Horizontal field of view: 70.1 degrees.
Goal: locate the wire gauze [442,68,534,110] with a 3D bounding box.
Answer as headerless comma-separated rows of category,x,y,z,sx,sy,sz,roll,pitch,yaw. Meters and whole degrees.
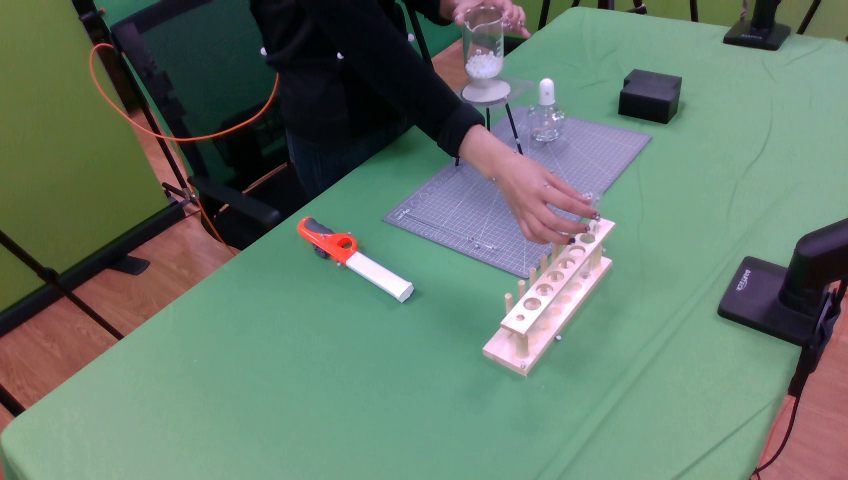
wire gauze,0.114,-0.269,1.081,0.120,0.011,0.125,21,48,29

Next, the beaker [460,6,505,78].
beaker,0.100,-0.335,1.035,0.073,0.101,0.084,16,47,24

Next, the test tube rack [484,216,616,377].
test tube rack,0.174,0.065,0.823,0.066,0.085,0.243,23,49,33

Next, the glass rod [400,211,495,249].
glass rod,0.035,-0.018,1.001,0.198,0.008,0.008,22,49,35

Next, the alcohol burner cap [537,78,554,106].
alcohol burner cap,0.229,-0.279,1.136,0.034,0.048,0.033,-5,34,4

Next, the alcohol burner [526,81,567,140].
alcohol burner,0.235,-0.252,1.159,0.078,0.119,0.077,-4,42,4

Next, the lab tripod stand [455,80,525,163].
lab tripod stand,0.121,-0.219,1.126,0.148,0.132,0.147,-4,40,4

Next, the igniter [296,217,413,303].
igniter,-0.121,0.025,0.970,0.274,0.025,0.057,30,63,37

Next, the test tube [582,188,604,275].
test tube,0.229,-0.007,0.821,0.017,0.151,0.017,-3,42,3
